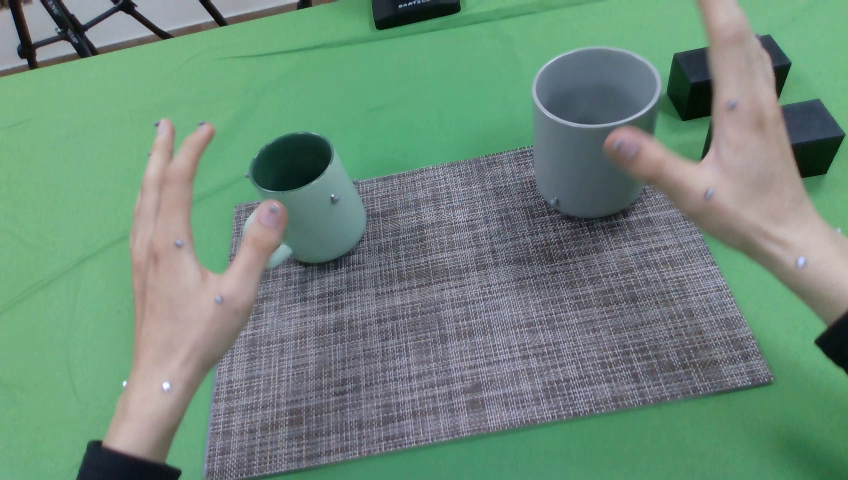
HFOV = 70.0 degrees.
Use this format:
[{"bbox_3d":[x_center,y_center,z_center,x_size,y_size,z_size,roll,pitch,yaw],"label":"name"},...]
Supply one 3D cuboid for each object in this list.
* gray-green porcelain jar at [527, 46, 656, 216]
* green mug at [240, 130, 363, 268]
[{"bbox_3d":[0.149,-0.093,0.553,0.106,0.128,0.105,-6,51,8],"label":"gray-green porcelain jar"},{"bbox_3d":[-0.121,-0.028,0.573,0.092,0.106,0.125,23,61,26],"label":"green mug"}]
